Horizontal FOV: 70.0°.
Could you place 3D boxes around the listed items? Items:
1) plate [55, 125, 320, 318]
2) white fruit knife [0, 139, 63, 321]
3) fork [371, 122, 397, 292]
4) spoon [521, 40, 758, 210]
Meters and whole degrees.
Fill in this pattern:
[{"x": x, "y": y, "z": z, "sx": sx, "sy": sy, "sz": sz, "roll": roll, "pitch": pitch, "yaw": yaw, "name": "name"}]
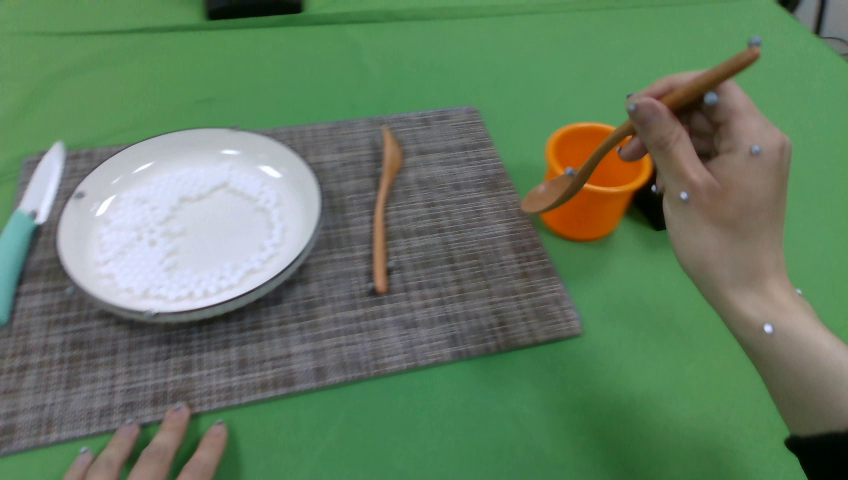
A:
[{"x": -0.191, "y": -0.018, "z": 0.513, "sx": 0.209, "sy": 0.038, "sz": 0.207, "roll": 3, "pitch": 50, "yaw": -3, "name": "plate"}, {"x": -0.341, "y": -0.020, "z": 0.517, "sx": 0.027, "sy": 0.016, "sz": 0.205, "roll": 17, "pitch": 42, "yaw": -28, "name": "white fruit knife"}, {"x": -0.038, "y": -0.038, "z": 0.556, "sx": 0.018, "sy": 0.028, "sz": 0.205, "roll": -17, "pitch": 49, "yaw": 22, "name": "fork"}, {"x": 0.117, "y": -0.062, "z": 0.371, "sx": 0.021, "sy": 0.194, "sz": 0.041, "roll": 42, "pitch": 60, "yaw": -1, "name": "spoon"}]
